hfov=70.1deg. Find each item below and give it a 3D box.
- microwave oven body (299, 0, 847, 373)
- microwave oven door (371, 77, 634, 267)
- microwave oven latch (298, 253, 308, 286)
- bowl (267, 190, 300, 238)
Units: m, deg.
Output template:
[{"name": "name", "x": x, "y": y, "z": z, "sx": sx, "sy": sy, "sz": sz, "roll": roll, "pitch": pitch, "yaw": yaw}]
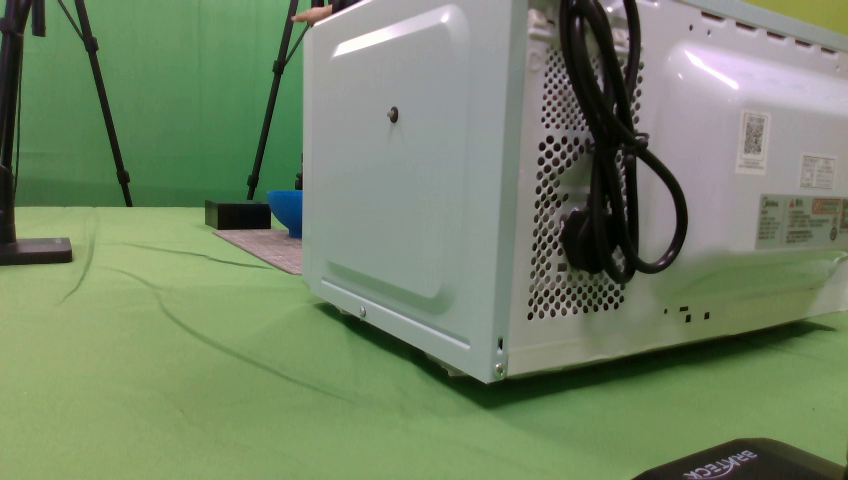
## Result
[{"name": "microwave oven body", "x": 0.152, "y": -0.055, "z": 0.543, "sx": 0.444, "sy": 0.260, "sz": 0.324, "roll": -2, "pitch": 7, "yaw": -33}, {"name": "microwave oven door", "x": 0.096, "y": -0.099, "z": 0.837, "sx": 0.355, "sy": 0.243, "sz": 0.039, "roll": 5, "pitch": 8, "yaw": 20}, {"name": "microwave oven latch", "x": -0.081, "y": 0.027, "z": 0.583, "sx": 0.079, "sy": 0.029, "sz": 0.030, "roll": -1, "pitch": 7, "yaw": -33}, {"name": "bowl", "x": -0.202, "y": -0.046, "z": 1.069, "sx": 0.151, "sy": 0.077, "sz": 0.151, "roll": 3, "pitch": 7, "yaw": 0}]
